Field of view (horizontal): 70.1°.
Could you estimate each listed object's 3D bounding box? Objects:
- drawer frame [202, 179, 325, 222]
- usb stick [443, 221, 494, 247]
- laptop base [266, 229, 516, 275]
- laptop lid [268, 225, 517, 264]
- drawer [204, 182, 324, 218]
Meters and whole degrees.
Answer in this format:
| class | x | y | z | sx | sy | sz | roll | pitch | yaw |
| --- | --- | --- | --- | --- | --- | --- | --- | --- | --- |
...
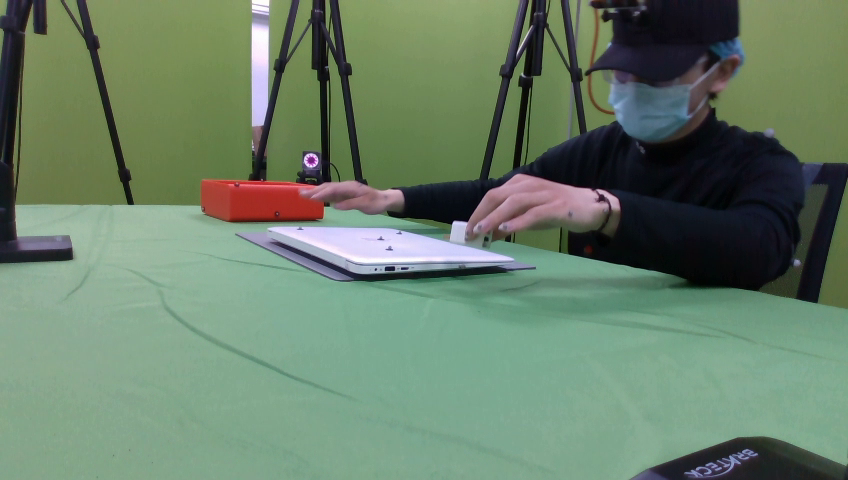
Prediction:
| class | x | y | z | sx | sy | sz | roll | pitch | yaw |
| --- | --- | --- | --- | --- | --- | --- | --- | --- | --- |
| drawer frame | -0.361 | -0.092 | 1.356 | 0.215 | 0.082 | 0.200 | -4 | 10 | -37 |
| usb stick | 0.050 | -0.007 | 0.694 | 0.059 | 0.027 | 0.021 | 4 | 0 | 35 |
| laptop base | -0.066 | 0.014 | 0.877 | 0.237 | 0.023 | 0.352 | 2 | 7 | -32 |
| laptop lid | -0.063 | 0.002 | 0.877 | 0.243 | 0.013 | 0.355 | 1 | 7 | -30 |
| drawer | -0.360 | -0.092 | 1.358 | 0.213 | 0.073 | 0.193 | -3 | 10 | -36 |
